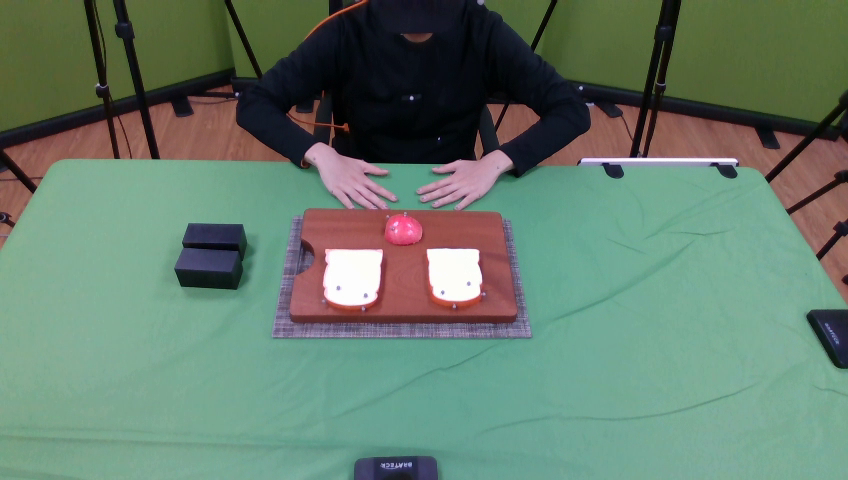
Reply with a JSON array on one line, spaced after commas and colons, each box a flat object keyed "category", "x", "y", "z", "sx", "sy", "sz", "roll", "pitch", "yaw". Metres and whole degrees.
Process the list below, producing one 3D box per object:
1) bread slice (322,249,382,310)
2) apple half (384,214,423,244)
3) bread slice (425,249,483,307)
[{"category": "bread slice", "x": -0.127, "y": 0.068, "z": 1.083, "sx": 0.107, "sy": 0.018, "sz": 0.133, "roll": -1, "pitch": 47, "yaw": -5}, {"category": "apple half", "x": -0.039, "y": -0.028, "z": 1.172, "sx": 0.081, "sy": 0.033, "sz": 0.081, "roll": 1, "pitch": 45, "yaw": 0}, {"category": "bread slice", "x": 0.058, "y": 0.066, "z": 1.100, "sx": 0.105, "sy": 0.019, "sz": 0.130, "roll": -1, "pitch": 45, "yaw": -3}]
